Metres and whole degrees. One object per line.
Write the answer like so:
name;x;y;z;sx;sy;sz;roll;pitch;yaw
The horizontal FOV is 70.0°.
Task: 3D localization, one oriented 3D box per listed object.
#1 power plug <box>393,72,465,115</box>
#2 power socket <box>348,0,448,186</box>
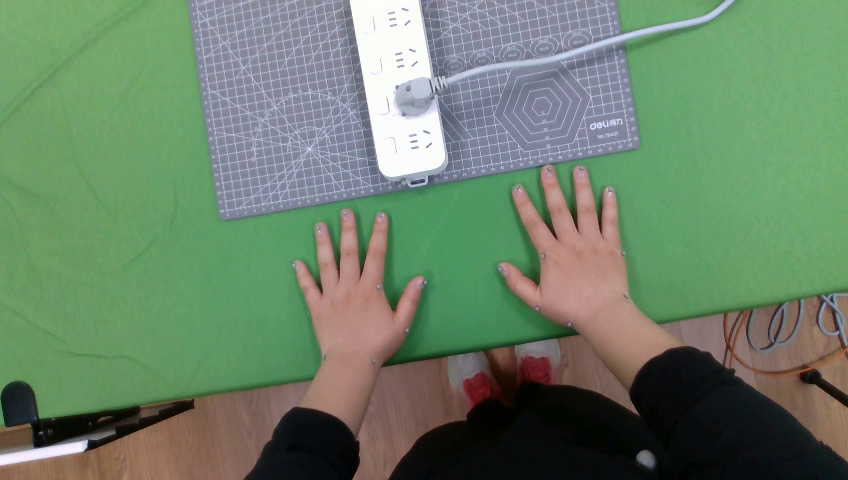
power plug;0.005;-0.143;0.603;0.072;0.053;0.035;0;90;4
power socket;-0.028;-0.169;0.626;0.072;0.032;0.226;-11;87;5
